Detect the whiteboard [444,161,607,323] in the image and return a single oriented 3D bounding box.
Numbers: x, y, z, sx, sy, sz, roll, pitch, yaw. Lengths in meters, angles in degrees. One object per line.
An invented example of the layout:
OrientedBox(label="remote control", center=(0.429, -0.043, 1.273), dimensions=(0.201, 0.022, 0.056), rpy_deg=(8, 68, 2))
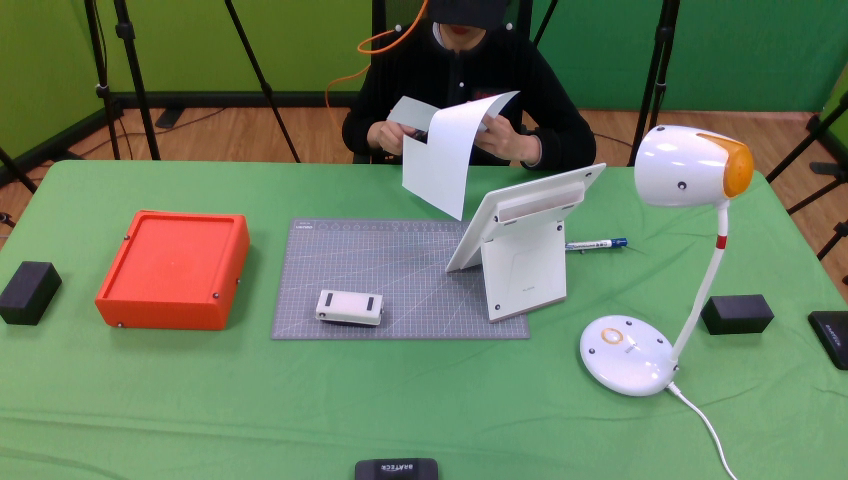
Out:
OrientedBox(label="whiteboard", center=(0.186, 0.025, 1.029), dimensions=(0.217, 0.306, 0.143), rpy_deg=(-14, 68, -18))

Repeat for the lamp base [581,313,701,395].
OrientedBox(label="lamp base", center=(0.361, 0.144, 0.972), dimensions=(0.178, 0.181, 0.160), rpy_deg=(34, 53, 23))

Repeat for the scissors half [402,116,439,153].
OrientedBox(label="scissors half", center=(-0.006, -0.223, 1.273), dimensions=(0.013, 0.175, 0.040), rpy_deg=(7, 72, -24))

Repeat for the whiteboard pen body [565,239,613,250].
OrientedBox(label="whiteboard pen body", center=(0.331, 0.008, 1.211), dimensions=(0.141, 0.017, 0.017), rpy_deg=(-5, 47, -4))

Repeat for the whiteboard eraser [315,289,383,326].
OrientedBox(label="whiteboard eraser", center=(-0.130, 0.119, 1.054), dimensions=(0.113, 0.042, 0.055), rpy_deg=(6, 47, 1))

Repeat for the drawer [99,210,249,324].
OrientedBox(label="drawer", center=(-0.435, 0.044, 1.081), dimensions=(0.194, 0.073, 0.210), rpy_deg=(3, 47, -2))

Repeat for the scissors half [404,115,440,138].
OrientedBox(label="scissors half", center=(-0.004, -0.242, 1.277), dimensions=(0.013, 0.175, 0.040), rpy_deg=(13, 85, -24))

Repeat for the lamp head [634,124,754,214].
OrientedBox(label="lamp head", center=(0.351, -0.089, 0.775), dimensions=(0.112, 0.113, 0.122), rpy_deg=(-30, 30, -28))

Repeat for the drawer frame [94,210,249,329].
OrientedBox(label="drawer frame", center=(-0.434, 0.048, 1.076), dimensions=(0.202, 0.083, 0.212), rpy_deg=(2, 47, -3))

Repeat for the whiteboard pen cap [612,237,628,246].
OrientedBox(label="whiteboard pen cap", center=(0.390, 0.004, 1.215), dimensions=(0.033, 0.018, 0.018), rpy_deg=(-7, 47, -2))
